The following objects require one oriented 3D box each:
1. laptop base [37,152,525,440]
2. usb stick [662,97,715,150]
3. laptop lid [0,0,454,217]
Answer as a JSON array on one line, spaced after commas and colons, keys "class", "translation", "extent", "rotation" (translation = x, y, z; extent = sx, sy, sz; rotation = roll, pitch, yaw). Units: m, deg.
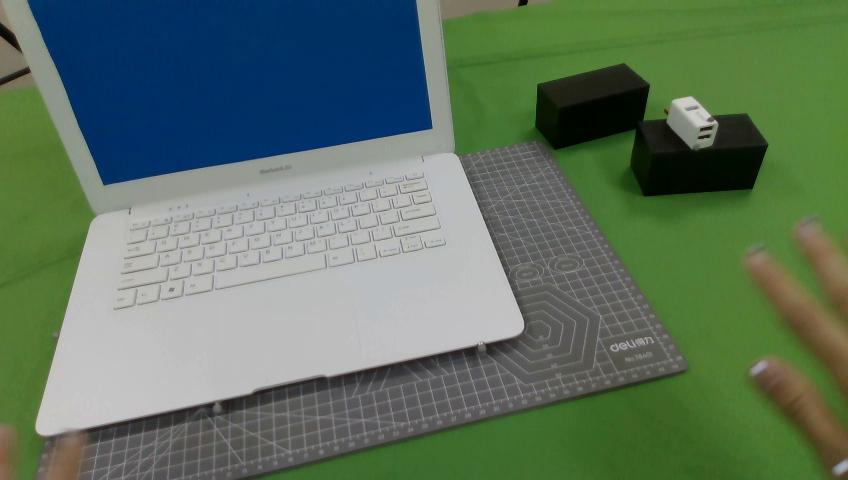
[{"class": "laptop base", "translation": [-0.117, 0.029, 0.513], "extent": [0.355, 0.023, 0.233], "rotation": [-11, 47, -6]}, {"class": "usb stick", "translation": [0.232, -0.107, 0.539], "extent": [0.021, 0.027, 0.058], "rotation": [-13, 42, -4]}, {"class": "laptop lid", "translation": [-0.155, -0.152, 0.538], "extent": [0.357, 0.244, 0.013], "rotation": [-13, 30, -5]}]
